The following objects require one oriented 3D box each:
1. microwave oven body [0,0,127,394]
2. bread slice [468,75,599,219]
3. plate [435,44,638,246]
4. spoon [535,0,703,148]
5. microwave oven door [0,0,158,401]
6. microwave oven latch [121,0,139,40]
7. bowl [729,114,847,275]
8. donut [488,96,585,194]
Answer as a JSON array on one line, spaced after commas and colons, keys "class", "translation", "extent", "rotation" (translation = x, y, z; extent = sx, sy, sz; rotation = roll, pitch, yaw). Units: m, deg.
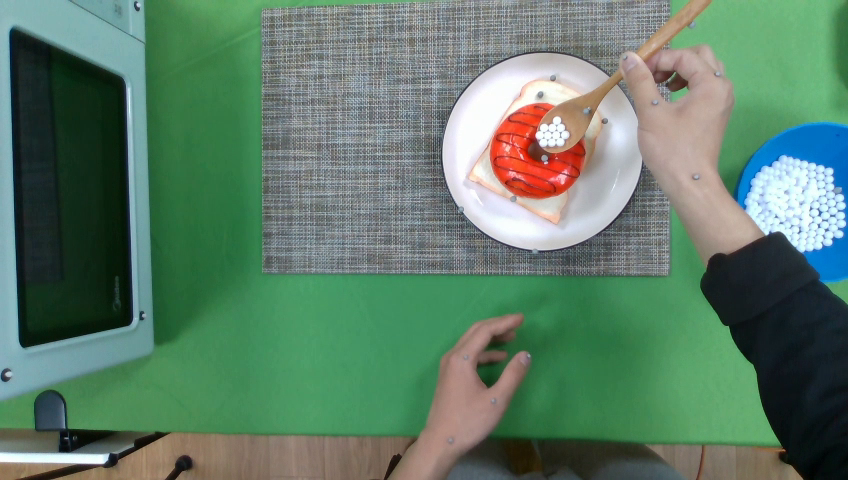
[{"class": "microwave oven body", "translation": [-0.489, -0.084, 0.598], "extent": [0.326, 0.260, 0.441], "rotation": [-2, 91, 6]}, {"class": "bread slice", "translation": [0.120, -0.104, 0.643], "extent": [0.107, 0.018, 0.134], "rotation": [25, 96, 5]}, {"class": "plate", "translation": [0.116, -0.097, 0.641], "extent": [0.207, 0.039, 0.207], "rotation": [0, 91, 6]}, {"class": "spoon", "translation": [0.166, -0.145, 0.524], "extent": [0.041, 0.021, 0.194], "rotation": [52, 136, 6]}, {"class": "microwave oven door", "translation": [-0.343, -0.047, 0.577], "extent": [0.039, 0.244, 0.355], "rotation": [-3, 90, 7]}, {"class": "microwave oven latch", "translation": [-0.337, -0.266, 0.675], "extent": [0.030, 0.029, 0.079], "rotation": [-2, 91, 6]}, {"class": "bowl", "translation": [0.370, -0.041, 0.598], "extent": [0.151, 0.077, 0.151], "rotation": [0, 90, 6]}, {"class": "donut", "translation": [0.113, -0.095, 0.614], "extent": [0.099, 0.048, 0.099], "rotation": [0, 91, 8]}]
